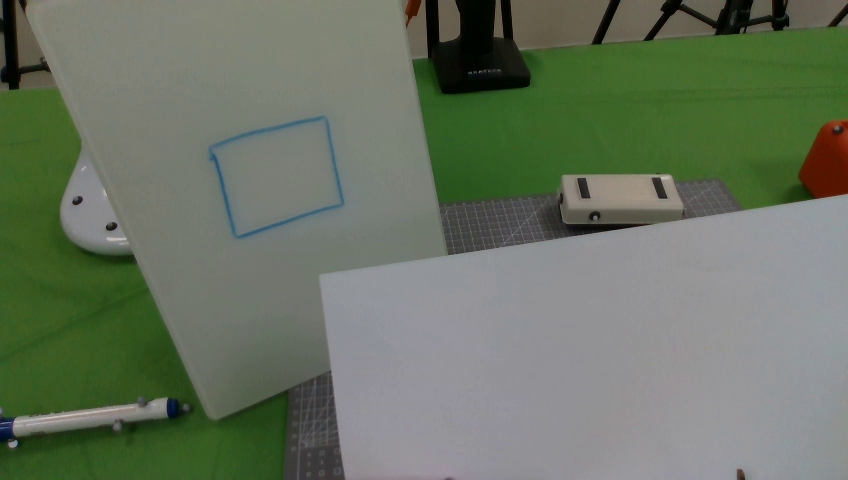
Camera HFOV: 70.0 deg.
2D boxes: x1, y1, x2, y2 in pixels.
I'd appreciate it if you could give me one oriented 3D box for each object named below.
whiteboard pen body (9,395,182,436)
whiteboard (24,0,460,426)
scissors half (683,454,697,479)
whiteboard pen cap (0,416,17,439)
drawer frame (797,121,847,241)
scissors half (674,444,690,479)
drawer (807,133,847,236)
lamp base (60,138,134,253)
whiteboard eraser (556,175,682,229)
[{"bbox_3d":[-0.256,0.133,0.453,0.141,0.017,0.017,-5,44,-9],"label":"whiteboard pen body"},{"bbox_3d":[-0.119,-0.053,0.480,0.217,0.308,0.142,-21,28,-17],"label":"whiteboard"},{"bbox_3d":[0.146,0.178,0.279,0.013,0.175,0.040,-19,8,7],"label":"scissors half"},{"bbox_3d":[-0.315,0.139,0.445,0.033,0.018,0.018,-4,44,-11],"label":"whiteboard pen cap"},{"bbox_3d":[0.499,-0.024,0.553,0.202,0.083,0.211,-5,44,-2],"label":"drawer frame"},{"bbox_3d":[0.140,0.175,0.257,0.013,0.040,0.173,-20,63,12],"label":"scissors half"},{"bbox_3d":[0.500,-0.018,0.549,0.194,0.074,0.209,-4,44,-1],"label":"drawer"},{"bbox_3d":[-0.304,-0.105,0.585,0.178,0.182,0.160,24,50,27],"label":"lamp base"},{"bbox_3d":[0.190,-0.037,0.600,0.113,0.042,0.055,0,43,1],"label":"whiteboard eraser"}]
